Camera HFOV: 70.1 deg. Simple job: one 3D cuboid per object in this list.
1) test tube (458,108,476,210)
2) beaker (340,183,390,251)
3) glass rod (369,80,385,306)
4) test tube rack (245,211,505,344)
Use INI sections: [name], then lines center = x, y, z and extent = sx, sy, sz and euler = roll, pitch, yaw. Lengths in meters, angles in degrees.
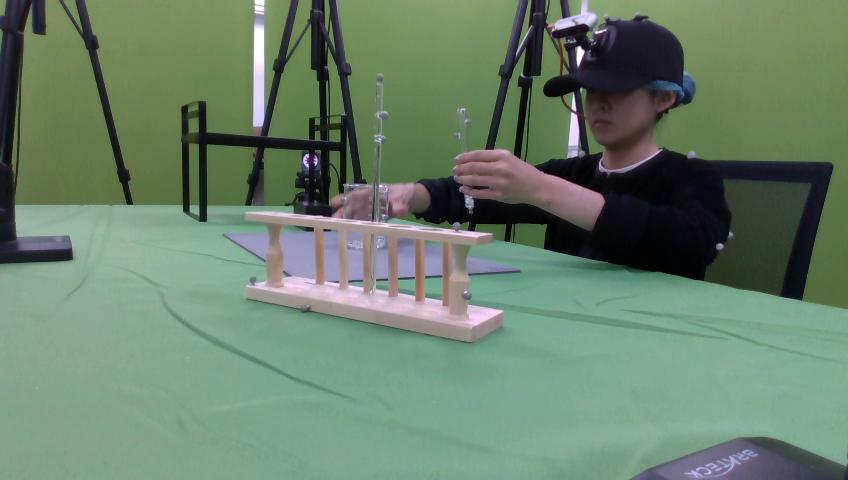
[test tube]
center = 0.064, -0.119, 0.894
extent = 0.017, 0.150, 0.017
euler = -5, 11, 1
[beaker]
center = -0.090, -0.036, 0.943
extent = 0.083, 0.100, 0.074
euler = 10, 10, 41
[glass rod]
center = -0.041, -0.039, 0.530
extent = 0.008, 0.199, 0.008
euler = 3, 2, 0
[test tube rack]
center = -0.049, 0.025, 0.547
extent = 0.241, 0.085, 0.067
euler = 7, 8, 29
